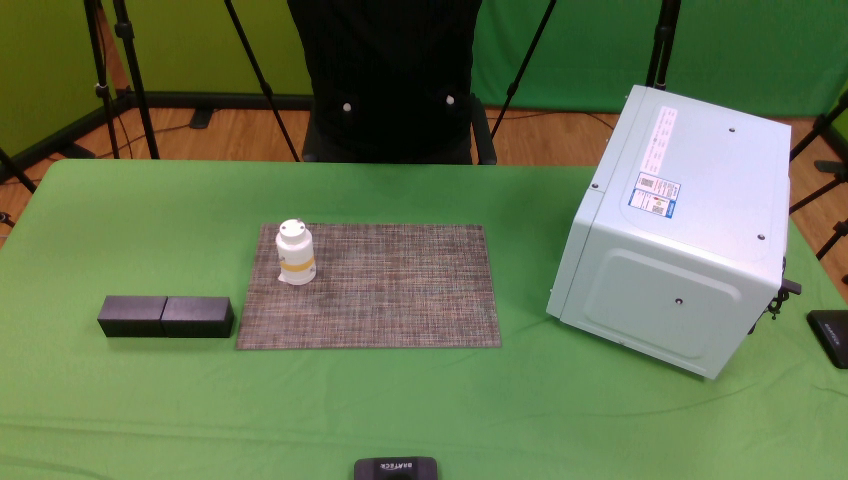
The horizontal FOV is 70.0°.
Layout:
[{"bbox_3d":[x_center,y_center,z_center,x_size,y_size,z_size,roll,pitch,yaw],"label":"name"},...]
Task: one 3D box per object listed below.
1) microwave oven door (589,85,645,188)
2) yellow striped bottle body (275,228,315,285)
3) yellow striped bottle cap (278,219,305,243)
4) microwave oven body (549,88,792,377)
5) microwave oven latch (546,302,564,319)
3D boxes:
[{"bbox_3d":[0.341,-0.107,1.149,0.039,0.245,0.354,20,48,15],"label":"microwave oven door"},{"bbox_3d":[-0.231,0.021,1.085,0.063,0.121,0.062,2,46,-2],"label":"yellow striped bottle body"},{"bbox_3d":[-0.229,-0.016,1.047,0.044,0.019,0.044,3,45,-3],"label":"yellow striped bottle cap"},{"bbox_3d":[0.456,-0.028,1.088,0.325,0.261,0.440,20,47,16],"label":"microwave oven body"},{"bbox_3d":[0.242,0.102,1.081,0.030,0.029,0.079,21,48,17],"label":"microwave oven latch"}]
